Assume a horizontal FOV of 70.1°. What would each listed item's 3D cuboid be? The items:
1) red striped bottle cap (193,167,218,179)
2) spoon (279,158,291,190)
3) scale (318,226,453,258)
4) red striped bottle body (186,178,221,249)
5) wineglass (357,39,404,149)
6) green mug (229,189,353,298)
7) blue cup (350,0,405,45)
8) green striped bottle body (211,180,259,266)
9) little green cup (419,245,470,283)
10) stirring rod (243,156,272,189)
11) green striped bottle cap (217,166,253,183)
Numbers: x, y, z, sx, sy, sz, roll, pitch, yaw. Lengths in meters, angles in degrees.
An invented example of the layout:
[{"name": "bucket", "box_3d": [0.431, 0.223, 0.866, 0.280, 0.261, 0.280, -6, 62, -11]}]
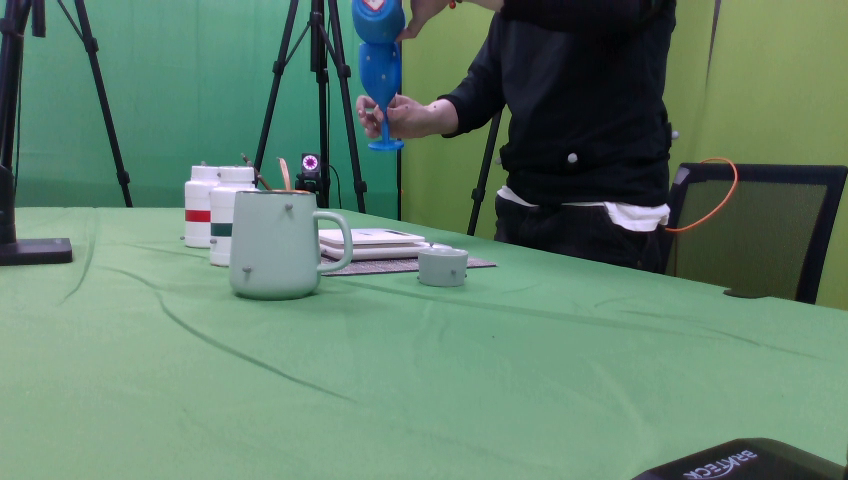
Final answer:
[{"name": "red striped bottle cap", "box_3d": [-0.329, -0.103, 0.921, 0.044, 0.017, 0.044, -1, 9, 0]}, {"name": "spoon", "box_3d": [-0.280, -0.103, 1.251, 0.042, 0.193, 0.021, 7, -40, -30]}, {"name": "scale", "box_3d": [-0.066, 0.001, 0.906, 0.202, 0.031, 0.148, -2, 8, -31]}, {"name": "red striped bottle body", "box_3d": [-0.331, -0.049, 0.928, 0.063, 0.119, 0.063, 2, 7, 0]}, {"name": "wineglass", "box_3d": [-0.071, -0.247, 1.023, 0.074, 0.172, 0.073, -3, 22, 2]}, {"name": "green mug", "box_3d": [-0.135, 0.002, 0.618, 0.125, 0.105, 0.092, 2, 7, 4]}, {"name": "blue cup", "box_3d": [-0.075, -0.355, 0.930, 0.092, 0.092, 0.100, 2, 5, 2]}, {"name": "green striped bottle body", "box_3d": [-0.243, -0.029, 0.784, 0.063, 0.119, 0.063, 2, 7, 0]}, {"name": "little green cup", "box_3d": [0.023, 0.028, 0.712, 0.061, 0.038, 0.061, 1, 6, 0]}, {"name": "stirring rod", "box_3d": [-0.304, -0.099, 1.201, 0.006, 0.177, 0.014, -27, 38, 7]}, {"name": "green striped bottle cap", "box_3d": [-0.242, -0.085, 0.777, 0.044, 0.020, 0.044, 2, 9, 0]}]
